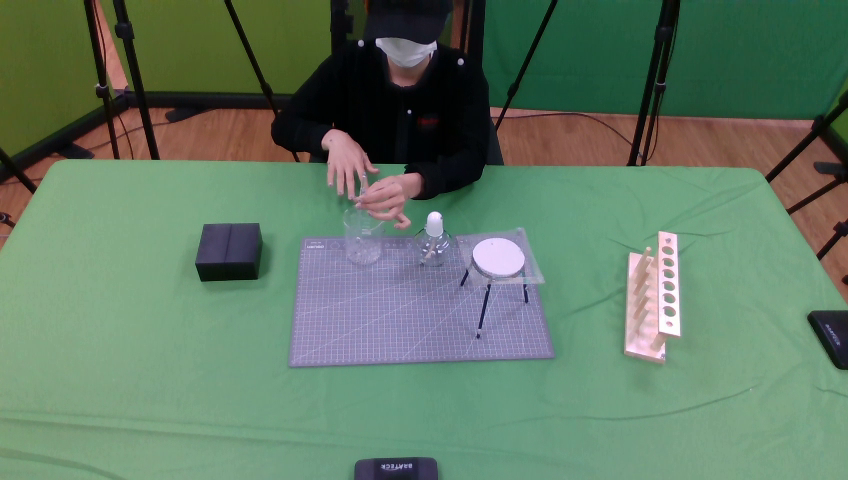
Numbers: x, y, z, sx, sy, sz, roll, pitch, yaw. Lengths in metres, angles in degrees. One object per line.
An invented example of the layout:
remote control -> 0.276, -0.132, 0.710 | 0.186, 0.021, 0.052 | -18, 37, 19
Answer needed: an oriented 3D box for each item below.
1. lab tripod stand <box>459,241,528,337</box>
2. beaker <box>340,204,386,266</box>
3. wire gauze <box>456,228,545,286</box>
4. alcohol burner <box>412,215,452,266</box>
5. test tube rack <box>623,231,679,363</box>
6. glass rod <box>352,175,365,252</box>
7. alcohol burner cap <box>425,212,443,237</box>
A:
lab tripod stand -> 0.122, 0.075, 1.054 | 0.148, 0.132, 0.147 | 3, 44, -3
beaker -> -0.114, -0.008, 1.140 | 0.084, 0.101, 0.073 | -3, 46, -8
wire gauze -> 0.126, 0.029, 1.006 | 0.125, 0.011, 0.120 | -4, 46, -10
alcohol burner -> 0.017, -0.006, 1.139 | 0.078, 0.119, 0.077 | 2, 48, -2
test tube rack -> 0.410, 0.094, 1.096 | 0.066, 0.085, 0.241 | 13, 46, 9
glass rod -> -0.119, -0.043, 1.099 | 0.008, 0.200, 0.008 | 6, 47, -7
alcohol burner cap -> 0.019, -0.032, 1.114 | 0.034, 0.048, 0.033 | 0, 49, 0
